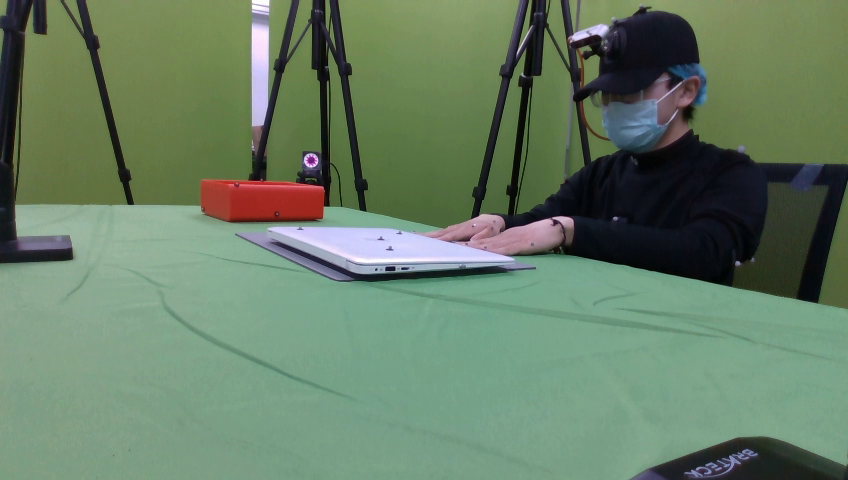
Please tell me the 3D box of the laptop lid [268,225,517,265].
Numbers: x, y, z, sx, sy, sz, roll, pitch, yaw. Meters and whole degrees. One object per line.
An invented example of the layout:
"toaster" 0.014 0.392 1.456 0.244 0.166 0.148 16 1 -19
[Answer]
"laptop lid" -0.063 0.002 0.877 0.243 0.013 0.355 1 7 -30

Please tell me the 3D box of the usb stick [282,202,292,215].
"usb stick" -0.309 -0.072 1.368 0.021 0.027 0.059 4 6 -14

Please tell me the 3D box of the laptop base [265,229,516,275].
"laptop base" -0.065 0.014 0.877 0.237 0.023 0.352 2 7 -32

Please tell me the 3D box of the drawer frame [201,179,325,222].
"drawer frame" -0.362 -0.092 1.356 0.215 0.082 0.200 -4 10 -37

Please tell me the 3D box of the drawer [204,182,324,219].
"drawer" -0.360 -0.091 1.358 0.213 0.073 0.193 -4 10 -36
